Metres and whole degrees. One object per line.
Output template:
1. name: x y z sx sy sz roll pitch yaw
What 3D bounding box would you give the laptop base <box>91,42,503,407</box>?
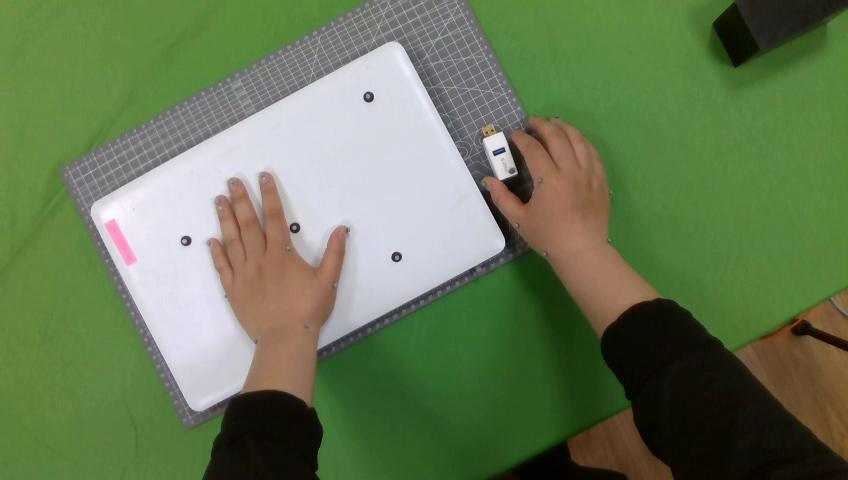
1. laptop base: -0.128 -0.015 0.605 0.354 0.023 0.235 -28 91 2

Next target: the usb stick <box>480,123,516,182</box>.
1. usb stick: 0.070 -0.088 0.591 0.021 0.027 0.059 -18 82 0

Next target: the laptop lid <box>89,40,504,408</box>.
1. laptop lid: -0.127 -0.013 0.595 0.357 0.013 0.241 -27 90 2
